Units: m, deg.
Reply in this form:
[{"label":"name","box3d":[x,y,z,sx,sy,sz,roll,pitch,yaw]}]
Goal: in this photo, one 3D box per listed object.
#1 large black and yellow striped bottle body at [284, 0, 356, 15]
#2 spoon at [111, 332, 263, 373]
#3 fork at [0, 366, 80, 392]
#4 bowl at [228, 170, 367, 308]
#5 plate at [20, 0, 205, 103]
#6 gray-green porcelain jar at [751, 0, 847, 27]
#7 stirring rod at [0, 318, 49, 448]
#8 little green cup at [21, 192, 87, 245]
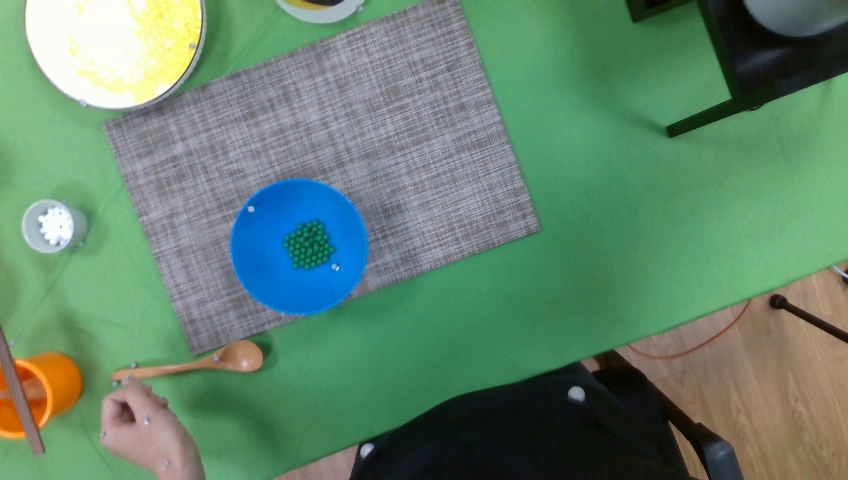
[{"label":"large black and yellow striped bottle body","box3d":[-0.122,-0.324,0.621,0.131,0.184,0.131,0,93,1]},{"label":"spoon","box3d":[-0.288,0.142,0.734,0.194,0.021,0.042,-9,107,1]},{"label":"fork","box3d":[-0.502,0.169,0.675,0.208,0.018,0.028,-3,97,-42]},{"label":"bowl","box3d":[-0.136,-0.002,0.691,0.151,0.077,0.151,0,94,1]},{"label":"plate","box3d":[-0.353,-0.261,0.700,0.209,0.038,0.209,0,94,0]},{"label":"gray-green porcelain jar","box3d":[0.323,-0.232,0.472,0.106,0.126,0.106,0,93,1]},{"label":"stirring rod","box3d":[-0.453,0.147,0.670,0.014,0.006,0.176,-19,94,3]},{"label":"little green cup","box3d":[-0.434,-0.025,0.716,0.061,0.038,0.061,0,94,1]}]
